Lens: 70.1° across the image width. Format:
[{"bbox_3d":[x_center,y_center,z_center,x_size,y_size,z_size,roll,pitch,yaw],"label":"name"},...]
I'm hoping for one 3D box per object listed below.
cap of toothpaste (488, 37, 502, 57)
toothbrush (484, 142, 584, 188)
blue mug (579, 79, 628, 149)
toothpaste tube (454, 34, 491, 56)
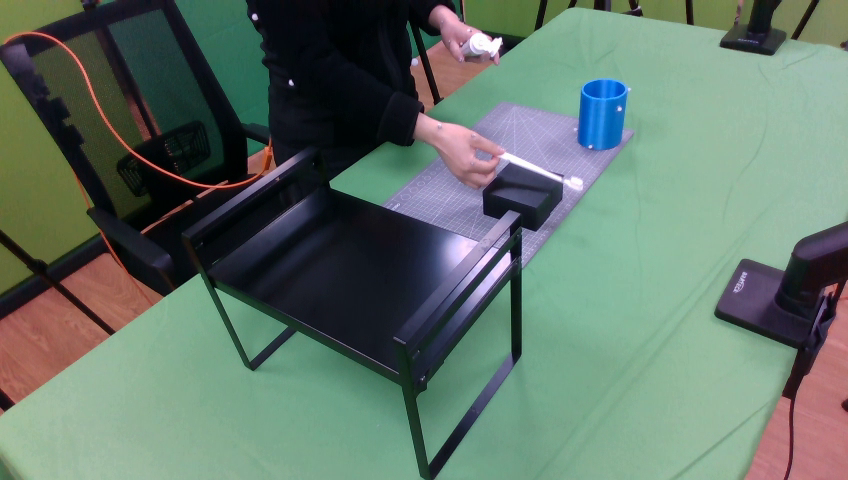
[{"bbox_3d":[0.123,-0.338,1.053,0.011,0.037,0.037,22,38,-17],"label":"cap of toothpaste"},{"bbox_3d":[0.176,-0.125,0.982,0.181,0.017,0.014,26,65,22],"label":"toothbrush"},{"bbox_3d":[0.336,-0.246,1.143,0.082,0.106,0.116,0,41,10],"label":"blue mug"},{"bbox_3d":[0.096,-0.361,1.136,0.055,0.034,0.164,1,11,-7],"label":"toothpaste tube"}]
